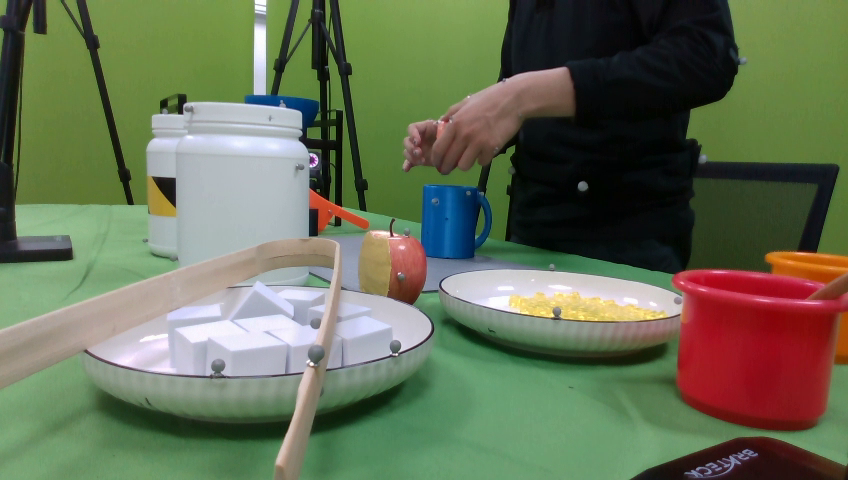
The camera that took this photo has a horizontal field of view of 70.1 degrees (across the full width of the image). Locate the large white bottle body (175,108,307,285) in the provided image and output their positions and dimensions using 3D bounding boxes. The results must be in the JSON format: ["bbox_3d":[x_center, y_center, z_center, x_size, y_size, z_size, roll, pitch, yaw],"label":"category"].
[{"bbox_3d":[-0.188,-0.042,0.630,0.131,0.184,0.130,2,8,0],"label":"large white bottle body"}]

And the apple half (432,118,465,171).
[{"bbox_3d":[0.044,-0.138,0.893,0.032,0.081,0.081,10,10,27],"label":"apple half"}]

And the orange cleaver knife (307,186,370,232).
[{"bbox_3d":[-0.197,-0.056,1.141,0.212,0.077,0.012,29,0,-34],"label":"orange cleaver knife"}]

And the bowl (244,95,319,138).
[{"bbox_3d":[-0.293,-0.251,1.249,0.151,0.077,0.151,2,7,0],"label":"bowl"}]

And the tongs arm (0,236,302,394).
[{"bbox_3d":[-0.158,0.038,0.351,0.028,0.028,0.388,-3,8,11],"label":"tongs arm"}]

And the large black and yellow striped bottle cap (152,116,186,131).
[{"bbox_3d":[-0.309,-0.155,0.826,0.115,0.019,0.115,3,6,0],"label":"large black and yellow striped bottle cap"}]

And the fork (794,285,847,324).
[{"bbox_3d":[0.332,0.018,0.443,0.028,0.018,0.207,-1,-36,-15],"label":"fork"}]

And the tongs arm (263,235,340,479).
[{"bbox_3d":[-0.074,0.039,0.349,0.051,0.026,0.384,-2,9,-3],"label":"tongs arm"}]

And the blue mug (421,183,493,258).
[{"bbox_3d":[0.052,-0.032,0.912,0.117,0.106,0.082,-1,8,-24],"label":"blue mug"}]

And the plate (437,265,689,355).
[{"bbox_3d":[0.114,0.057,0.517,0.209,0.038,0.209,3,8,0],"label":"plate"}]

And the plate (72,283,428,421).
[{"bbox_3d":[-0.102,0.066,0.381,0.208,0.039,0.207,2,7,0],"label":"plate"}]

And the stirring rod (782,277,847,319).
[{"bbox_3d":[0.344,0.019,0.460,0.014,0.006,0.176,-13,-27,-30],"label":"stirring rod"}]

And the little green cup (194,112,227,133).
[{"bbox_3d":[-0.412,-0.228,1.171,0.061,0.038,0.061,2,8,0],"label":"little green cup"}]

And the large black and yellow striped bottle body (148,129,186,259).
[{"bbox_3d":[-0.310,-0.073,0.838,0.131,0.184,0.130,2,8,0],"label":"large black and yellow striped bottle body"}]

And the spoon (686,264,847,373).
[{"bbox_3d":[0.215,0.032,0.328,0.042,0.021,0.193,-3,-35,-26],"label":"spoon"}]

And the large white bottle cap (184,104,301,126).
[{"bbox_3d":[-0.184,-0.126,0.618,0.115,0.018,0.115,2,8,0],"label":"large white bottle cap"}]

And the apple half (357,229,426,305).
[{"bbox_3d":[-0.026,0.028,0.570,0.053,0.074,0.080,3,2,-28],"label":"apple half"}]
